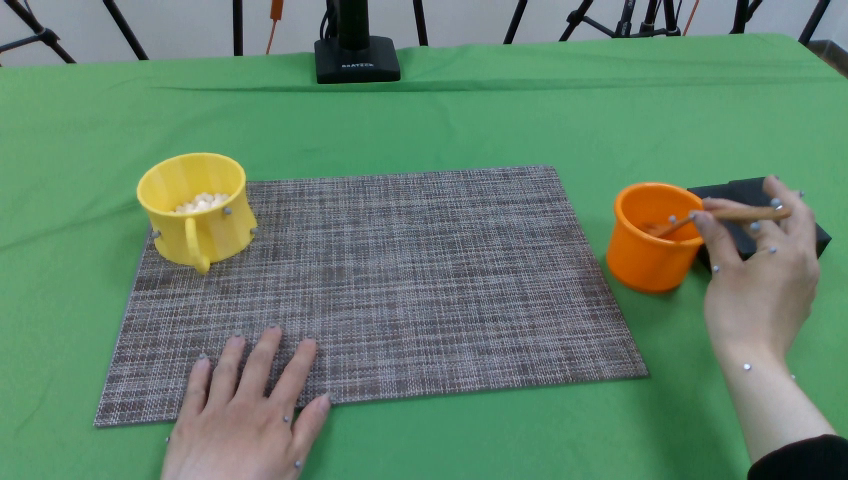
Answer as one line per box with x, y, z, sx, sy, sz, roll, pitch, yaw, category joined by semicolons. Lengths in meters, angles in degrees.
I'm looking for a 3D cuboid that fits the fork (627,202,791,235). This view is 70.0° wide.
0.234;-0.019;0.522;0.028;0.207;0.018;-30;91;-9;fork

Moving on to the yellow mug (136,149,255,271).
-0.221;-0.026;0.593;0.100;0.064;0.129;-8;46;-11;yellow mug
